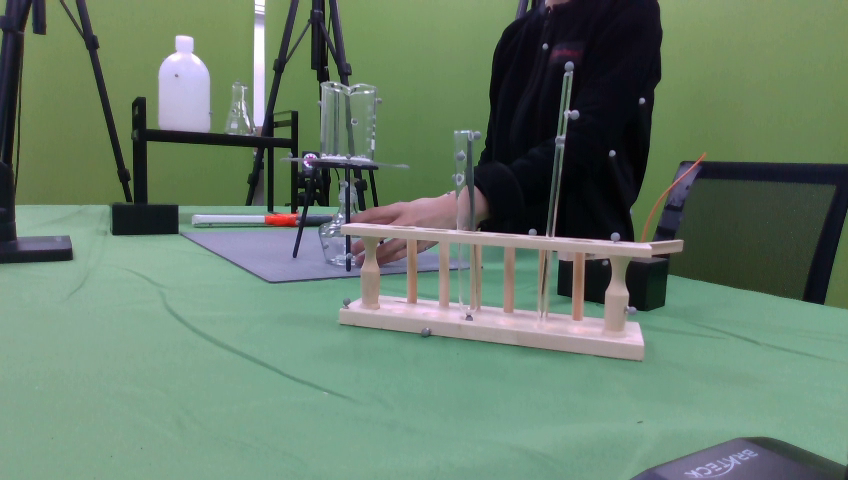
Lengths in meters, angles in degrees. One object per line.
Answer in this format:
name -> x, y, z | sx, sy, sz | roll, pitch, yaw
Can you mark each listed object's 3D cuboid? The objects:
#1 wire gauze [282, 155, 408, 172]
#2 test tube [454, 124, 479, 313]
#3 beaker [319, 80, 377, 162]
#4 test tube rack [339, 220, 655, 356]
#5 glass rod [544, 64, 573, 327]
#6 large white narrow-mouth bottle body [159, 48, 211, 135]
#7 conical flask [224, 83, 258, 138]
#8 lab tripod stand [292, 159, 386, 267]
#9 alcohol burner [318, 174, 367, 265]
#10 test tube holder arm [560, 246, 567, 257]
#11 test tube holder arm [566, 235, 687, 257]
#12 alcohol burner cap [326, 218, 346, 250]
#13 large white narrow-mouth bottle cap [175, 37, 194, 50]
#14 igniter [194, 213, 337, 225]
wire gauze -> -0.104, -0.103, 0.785 | 0.126, 0.011, 0.121 | 1, 8, -39
test tube -> 0.034, -0.015, 0.477 | 0.017, 0.150, 0.017 | -2, 9, 1
beaker -> -0.098, -0.150, 0.777 | 0.074, 0.100, 0.084 | 1, 7, -7
test tube rack -> 0.056, 0.032, 0.495 | 0.242, 0.085, 0.067 | 4, 7, 15
glass rod -> 0.101, -0.028, 0.453 | 0.008, 0.199, 0.008 | 2, 13, 0
large white narrow-mouth bottle body -> -0.503, -0.322, 1.275 | 0.102, 0.194, 0.102 | 2, 7, 0
conical flask -> -0.422, -0.299, 1.395 | 0.075, 0.122, 0.075 | 2, 7, 0
lab tripod stand -> -0.105, -0.039, 0.798 | 0.148, 0.131, 0.148 | 2, 5, 0
alcohol burner -> -0.100, -0.028, 0.790 | 0.078, 0.119, 0.078 | 0, 6, 0
test tube holder arm -> 0.173, 0.007, 0.612 | 0.088, 0.015, 0.010 | -3, 8, -30
test tube holder arm -> 0.215, 0.006, 0.630 | 0.179, 0.015, 0.013 | -3, 8, -31
alcohol burner cap -> -0.133, -0.010, 0.927 | 0.034, 0.048, 0.034 | 6, 7, 0
large white narrow-mouth bottle cap -> -0.501, -0.409, 1.264 | 0.038, 0.024, 0.037 | 2, 7, 0
igniter -> -0.306, -0.042, 1.196 | 0.278, 0.025, 0.057 | -2, -2, -31
